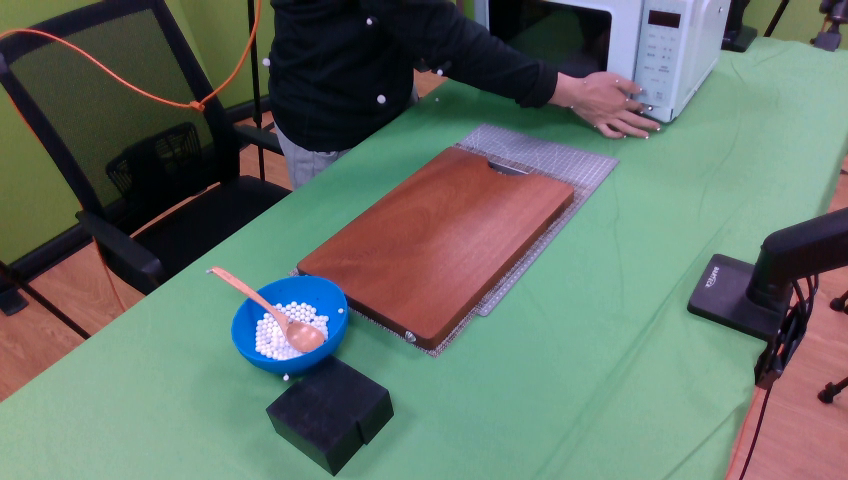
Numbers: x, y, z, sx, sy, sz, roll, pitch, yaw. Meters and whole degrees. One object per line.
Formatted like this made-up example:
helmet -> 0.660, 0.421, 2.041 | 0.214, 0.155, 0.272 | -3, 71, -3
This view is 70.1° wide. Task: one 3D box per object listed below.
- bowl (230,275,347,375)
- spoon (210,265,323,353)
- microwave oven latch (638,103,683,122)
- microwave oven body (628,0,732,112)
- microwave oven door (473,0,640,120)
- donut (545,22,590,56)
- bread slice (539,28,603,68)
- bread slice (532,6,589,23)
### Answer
bowl -> -0.170, 0.125, 0.802 | 0.151, 0.077, 0.150 | -4, 40, 4
spoon -> -0.213, 0.087, 0.806 | 0.193, 0.021, 0.042 | 37, 56, 12
microwave oven latch -> 0.451, -0.252, 1.159 | 0.030, 0.029, 0.078 | -31, 46, -24
microwave oven body -> 0.377, -0.463, 1.267 | 0.438, 0.261, 0.327 | 21, 49, 30
microwave oven door -> 0.252, -0.391, 1.194 | 0.353, 0.245, 0.039 | 24, 49, 31
donut -> 0.308, -0.433, 1.298 | 0.099, 0.048, 0.098 | -23, 34, 17
bread slice -> 0.330, -0.427, 1.341 | 0.104, 0.019, 0.131 | 19, 59, 41
bread slice -> 0.292, -0.477, 1.278 | 0.106, 0.018, 0.134 | 5, 29, 19
